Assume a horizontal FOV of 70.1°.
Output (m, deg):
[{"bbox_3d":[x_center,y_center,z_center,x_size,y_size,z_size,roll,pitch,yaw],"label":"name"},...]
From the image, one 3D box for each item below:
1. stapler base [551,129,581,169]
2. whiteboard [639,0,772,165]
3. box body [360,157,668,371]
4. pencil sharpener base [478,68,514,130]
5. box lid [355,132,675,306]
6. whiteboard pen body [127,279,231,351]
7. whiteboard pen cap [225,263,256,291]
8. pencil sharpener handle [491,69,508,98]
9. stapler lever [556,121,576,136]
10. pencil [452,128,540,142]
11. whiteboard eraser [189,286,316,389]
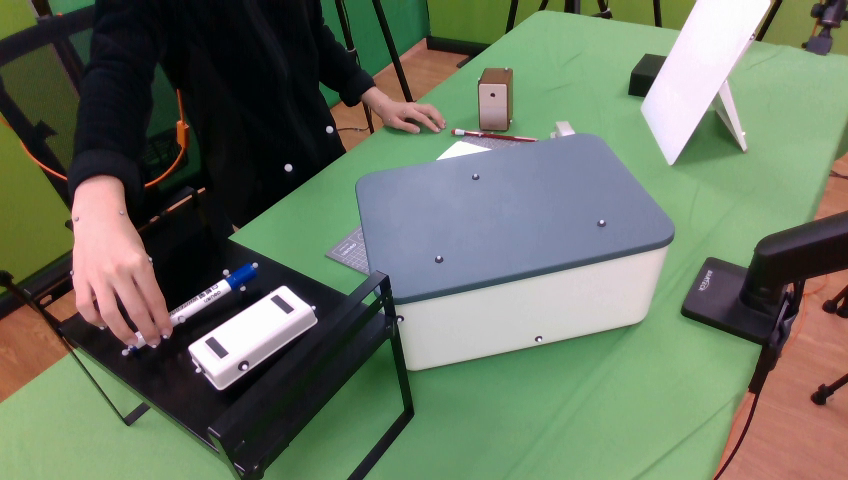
[{"bbox_3d":[0.268,-0.178,1.142,0.041,0.024,0.130,0,37,3],"label":"stapler base"},{"bbox_3d":[0.543,-0.298,1.076,0.144,0.305,0.216,12,40,-7],"label":"whiteboard"},{"bbox_3d":[0.108,0.014,0.833,0.365,0.161,0.252,-11,41,-5],"label":"box body"},{"bbox_3d":[0.148,-0.286,1.224,0.061,0.107,0.076,5,41,15],"label":"pencil sharpener base"},{"bbox_3d":[0.103,-0.042,0.785,0.372,0.015,0.261,-12,41,-5],"label":"box lid"},{"bbox_3d":[-0.248,0.072,0.645,0.141,0.017,0.017,-35,47,-23],"label":"whiteboard pen body"},{"bbox_3d":[-0.204,0.041,0.668,0.033,0.018,0.018,-36,48,-22],"label":"whiteboard pen cap"},{"bbox_3d":[0.155,-0.329,1.254,0.036,0.068,0.030,17,43,3],"label":"pencil sharpener handle"},{"bbox_3d":[0.266,-0.198,1.128,0.027,0.040,0.117,0,38,3],"label":"stapler lever"},{"bbox_3d":[0.147,-0.208,1.205,0.193,0.012,0.012,10,43,19],"label":"pencil"},{"bbox_3d":[-0.166,0.096,0.593,0.113,0.042,0.055,-36,47,-29],"label":"whiteboard eraser"}]
